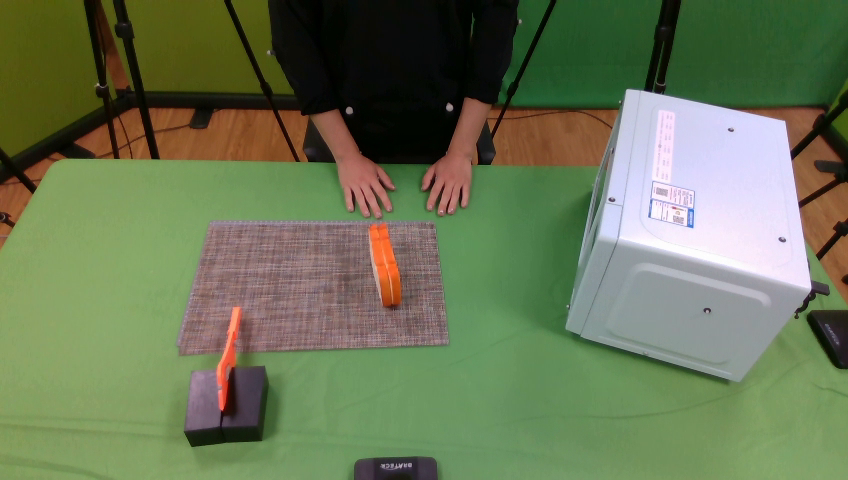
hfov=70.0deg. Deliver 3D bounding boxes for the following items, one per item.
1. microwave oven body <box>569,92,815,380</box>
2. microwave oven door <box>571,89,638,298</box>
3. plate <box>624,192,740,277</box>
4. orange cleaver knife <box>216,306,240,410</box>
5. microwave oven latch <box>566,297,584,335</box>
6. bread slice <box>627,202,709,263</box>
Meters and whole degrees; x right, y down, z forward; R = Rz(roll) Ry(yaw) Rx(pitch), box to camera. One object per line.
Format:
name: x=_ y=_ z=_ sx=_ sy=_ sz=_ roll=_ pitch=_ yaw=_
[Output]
microwave oven body: x=0.468 y=-0.022 z=1.082 sx=0.325 sy=0.261 sz=0.440 roll=15 pitch=46 yaw=11
microwave oven door: x=0.343 y=-0.091 z=1.133 sx=0.039 sy=0.245 sz=0.354 roll=15 pitch=47 yaw=10
plate: x=0.481 y=-0.007 z=1.145 sx=0.208 sy=0.039 sz=0.206 roll=0 pitch=48 yaw=0
orange cleaver knife: x=-0.307 y=0.180 z=0.957 sx=0.012 sy=0.077 sz=0.210 roll=-2 pitch=25 yaw=-8
microwave oven latch: x=0.268 y=0.126 z=1.059 sx=0.030 sy=0.029 sz=0.079 roll=16 pitch=46 yaw=12
bread slice: x=0.474 y=-0.022 z=1.167 sx=0.134 sy=0.018 sz=0.106 roll=-29 pitch=55 yaw=-16
